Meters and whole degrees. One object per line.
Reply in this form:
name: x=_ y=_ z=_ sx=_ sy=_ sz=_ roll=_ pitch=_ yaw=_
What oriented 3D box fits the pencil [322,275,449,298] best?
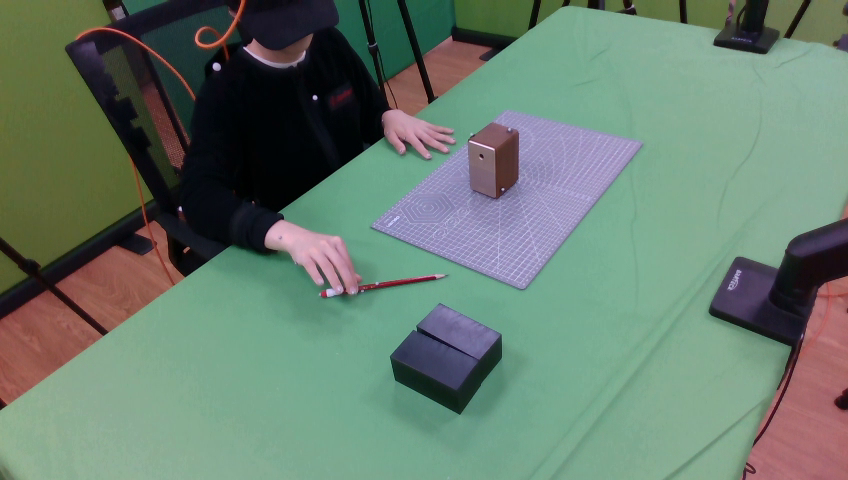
pencil: x=-0.058 y=0.069 z=0.916 sx=0.194 sy=0.012 sz=0.012 roll=-8 pitch=40 yaw=-3

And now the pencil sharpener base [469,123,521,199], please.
pencil sharpener base: x=0.126 y=-0.138 z=1.050 sx=0.061 sy=0.107 sz=0.077 roll=24 pitch=50 yaw=33

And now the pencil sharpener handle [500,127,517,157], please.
pencil sharpener handle: x=0.154 y=-0.178 z=1.072 sx=0.036 sy=0.068 sz=0.031 roll=36 pitch=55 yaw=20
